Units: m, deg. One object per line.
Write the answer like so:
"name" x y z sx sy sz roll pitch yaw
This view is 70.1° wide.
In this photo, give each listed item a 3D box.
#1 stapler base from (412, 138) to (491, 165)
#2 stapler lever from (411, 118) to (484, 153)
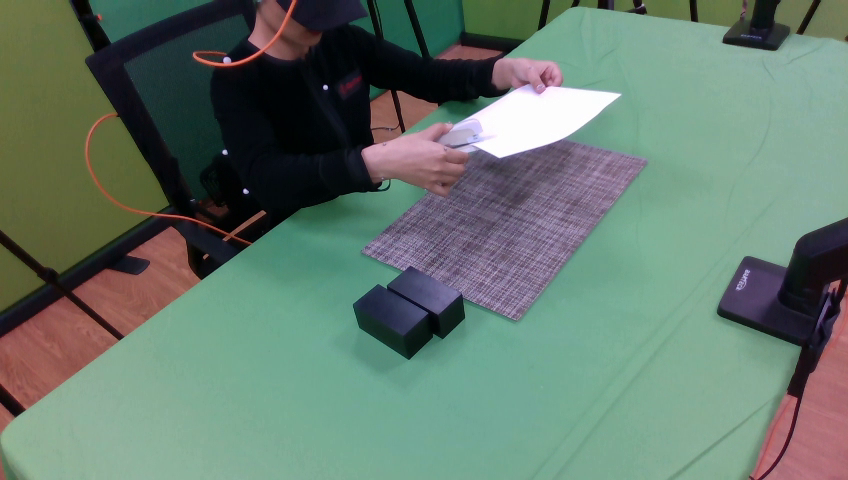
"stapler base" 0.042 -0.149 0.969 0.131 0.024 0.041 -16 16 -4
"stapler lever" 0.037 -0.166 0.962 0.118 0.040 0.026 -11 16 -6
